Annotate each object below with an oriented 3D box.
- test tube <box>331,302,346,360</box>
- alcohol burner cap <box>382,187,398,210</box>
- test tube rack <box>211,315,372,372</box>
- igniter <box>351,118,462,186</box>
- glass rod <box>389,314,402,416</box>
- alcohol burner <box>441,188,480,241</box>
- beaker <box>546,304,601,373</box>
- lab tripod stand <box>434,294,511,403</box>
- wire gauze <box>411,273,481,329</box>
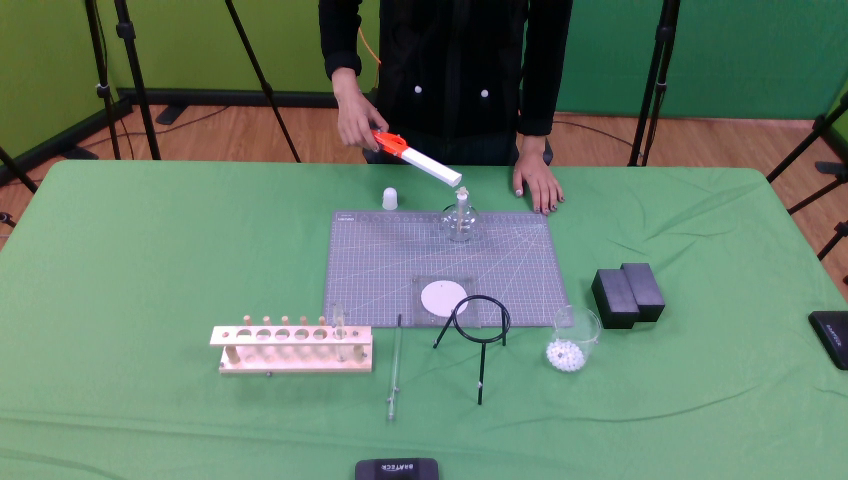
[{"bbox_3d":[-0.132,0.144,0.938,0.017,0.151,0.017,2,49,-3],"label":"test tube"},{"bbox_3d":[-0.072,-0.090,1.266,0.034,0.048,0.033,3,47,-2],"label":"alcohol burner cap"},{"bbox_3d":[-0.208,0.163,0.982,0.242,0.085,0.066,1,46,-4],"label":"test tube rack"},{"bbox_3d":[-0.044,-0.179,1.205,0.275,0.025,0.057,31,48,24],"label":"igniter"},{"bbox_3d":[-0.048,0.203,1.008,0.008,0.008,0.198,4,45,0],"label":"glass rod"},{"bbox_3d":[0.073,-0.055,1.189,0.078,0.120,0.077,1,48,-1],"label":"alcohol burner"},{"bbox_3d":[0.242,0.167,1.001,0.084,0.101,0.073,-32,55,-28],"label":"beaker"},{"bbox_3d":[0.087,0.164,0.969,0.148,0.132,0.147,3,47,-3],"label":"lab tripod stand"},{"bbox_3d":[0.038,0.108,1.103,0.125,0.011,0.120,2,47,-3],"label":"wire gauze"}]
